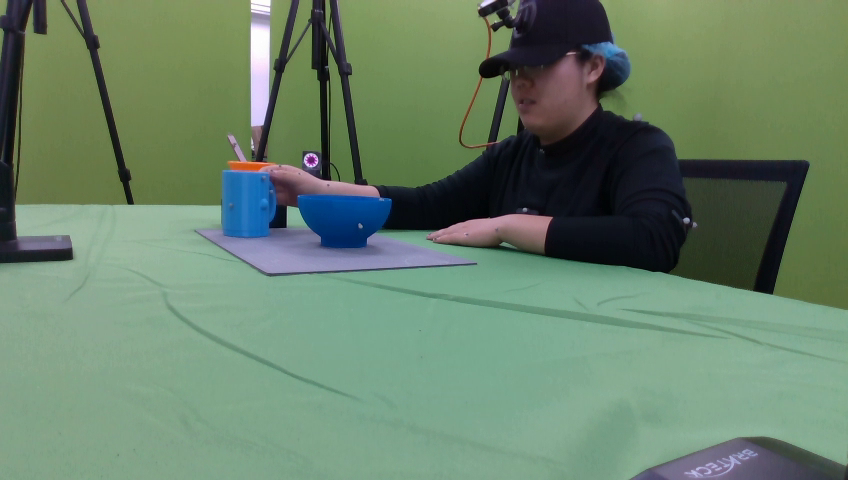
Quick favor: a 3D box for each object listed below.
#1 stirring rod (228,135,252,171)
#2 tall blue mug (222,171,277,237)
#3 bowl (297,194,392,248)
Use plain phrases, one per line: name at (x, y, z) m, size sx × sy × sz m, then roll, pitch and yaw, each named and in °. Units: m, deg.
stirring rod at (-0.352, -0.147, 1.198) m, size 0.014 × 0.006 × 0.175 m, roll -6°, pitch 53°, yaw -44°
tall blue mug at (-0.303, -0.064, 1.043) m, size 0.078 × 0.108 × 0.107 m, roll 1°, pitch 7°, yaw -4°
bowl at (-0.127, -0.030, 0.964) m, size 0.151 × 0.077 × 0.151 m, roll 2°, pitch 7°, yaw 0°
